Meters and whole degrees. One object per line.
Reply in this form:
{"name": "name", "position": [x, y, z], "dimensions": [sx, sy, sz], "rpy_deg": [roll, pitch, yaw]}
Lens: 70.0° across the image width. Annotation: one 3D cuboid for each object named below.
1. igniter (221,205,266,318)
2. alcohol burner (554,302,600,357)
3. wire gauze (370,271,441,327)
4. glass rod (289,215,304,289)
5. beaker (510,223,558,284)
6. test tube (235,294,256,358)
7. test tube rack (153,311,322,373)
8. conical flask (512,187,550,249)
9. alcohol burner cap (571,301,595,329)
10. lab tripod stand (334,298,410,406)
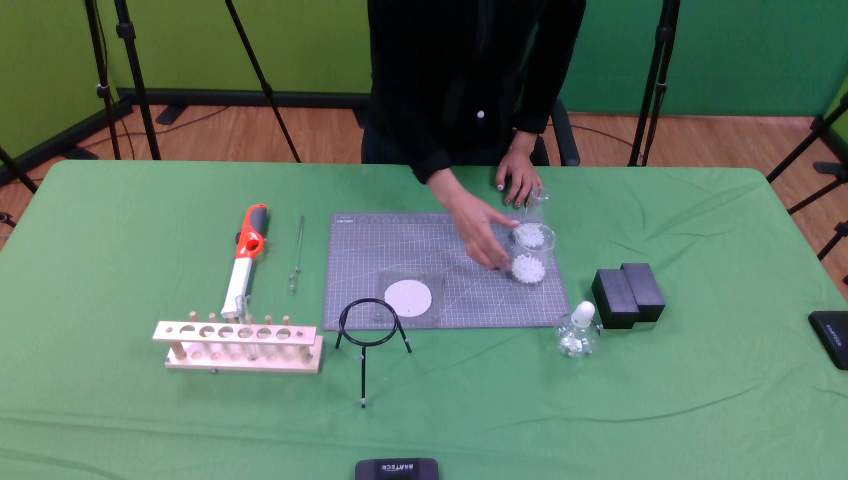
{"name": "igniter", "position": [-0.338, 0.030, 1.140], "dimensions": [0.057, 0.025, 0.274], "rpy_deg": [-5, 46, 3]}
{"name": "alcohol burner", "position": [0.260, 0.143, 1.018], "dimensions": [0.078, 0.119, 0.077], "rpy_deg": [3, 45, -3]}
{"name": "wire gauze", "position": [-0.032, 0.103, 1.104], "dimensions": [0.125, 0.011, 0.121], "rpy_deg": [4, 46, 3]}
{"name": "glass rod", "position": [-0.246, 0.019, 1.171], "dimensions": [0.008, 0.008, 0.198], "rpy_deg": [0, 43, -3]}
{"name": "beaker", "position": [0.199, 0.027, 1.131], "dimensions": [0.083, 0.101, 0.074], "rpy_deg": [27, 50, 21]}
{"name": "test tube", "position": [-0.274, 0.136, 0.933], "dimensions": [0.017, 0.151, 0.017], "rpy_deg": [4, 45, -4]}
{"name": "test tube rack", "position": [-0.293, 0.160, 0.978], "dimensions": [0.242, 0.085, 0.066], "rpy_deg": [3, 46, -2]}
{"name": "conical flask", "position": [0.217, -0.048, 1.190], "dimensions": [0.075, 0.122, 0.075], "rpy_deg": [2, 46, -2]}
{"name": "alcohol burner cap", "position": [0.262, 0.120, 0.991], "dimensions": [0.034, 0.048, 0.033], "rpy_deg": [2, 52, -2]}
{"name": "lab tripod stand", "position": [-0.086, 0.164, 0.957], "dimensions": [0.148, 0.132, 0.147], "rpy_deg": [3, 44, -2]}
